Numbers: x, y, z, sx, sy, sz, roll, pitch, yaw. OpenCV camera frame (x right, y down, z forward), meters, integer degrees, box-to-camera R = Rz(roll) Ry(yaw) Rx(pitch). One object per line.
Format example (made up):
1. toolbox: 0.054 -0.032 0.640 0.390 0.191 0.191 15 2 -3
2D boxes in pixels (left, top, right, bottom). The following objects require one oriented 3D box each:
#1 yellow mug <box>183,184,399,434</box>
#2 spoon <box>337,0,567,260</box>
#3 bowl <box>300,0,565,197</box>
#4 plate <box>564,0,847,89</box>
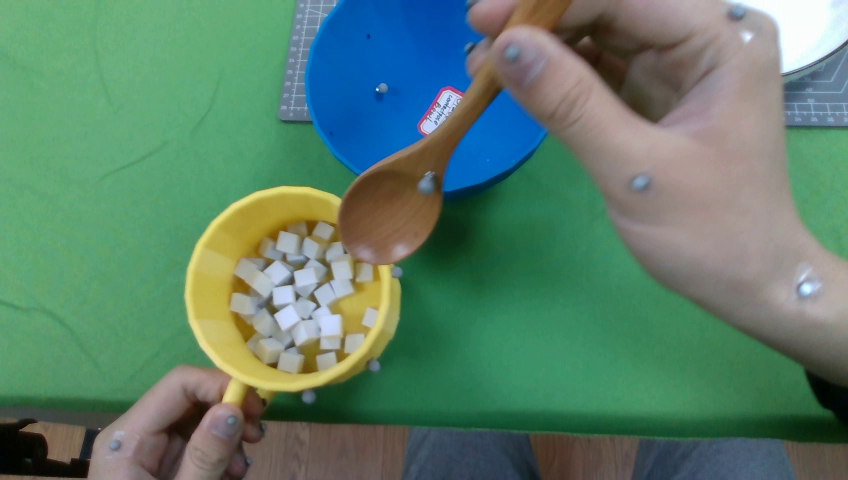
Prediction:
1. yellow mug: -0.071 0.041 0.319 0.100 0.064 0.130 24 81 6
2. spoon: 0.016 -0.049 0.205 0.042 0.194 0.021 25 51 -14
3. bowl: 0.008 -0.088 0.378 0.151 0.077 0.150 -1 74 6
4. plate: 0.192 -0.189 0.418 0.209 0.038 0.207 -1 70 4
